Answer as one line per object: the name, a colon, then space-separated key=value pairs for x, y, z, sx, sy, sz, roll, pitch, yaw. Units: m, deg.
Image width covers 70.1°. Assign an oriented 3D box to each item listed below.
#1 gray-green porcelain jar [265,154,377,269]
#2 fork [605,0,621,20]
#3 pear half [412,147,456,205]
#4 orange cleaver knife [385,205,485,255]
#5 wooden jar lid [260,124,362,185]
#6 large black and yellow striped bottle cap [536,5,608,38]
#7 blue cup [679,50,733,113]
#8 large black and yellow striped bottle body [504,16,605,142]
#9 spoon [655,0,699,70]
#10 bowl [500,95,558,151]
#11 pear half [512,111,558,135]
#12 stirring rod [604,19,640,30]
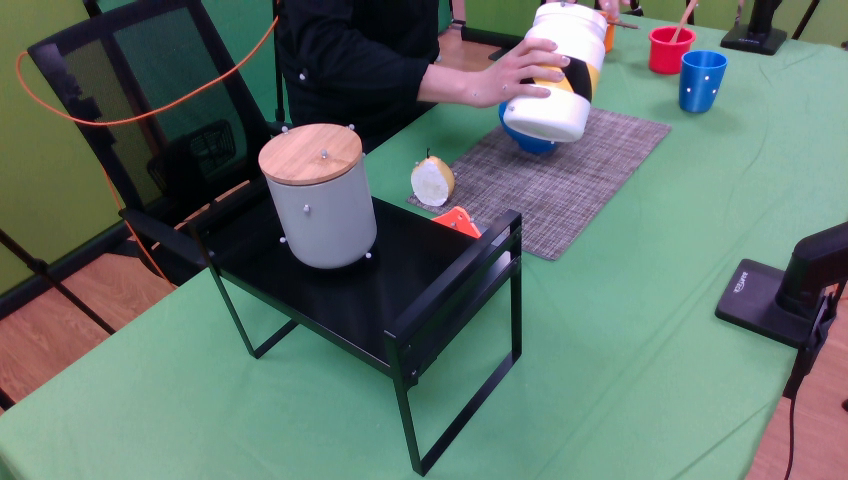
gray-green porcelain jar: x=-0.112 y=-0.039 z=0.685 sx=0.106 sy=0.127 sz=0.105 roll=-4 pitch=40 yaw=4
fork: x=0.446 y=-0.538 z=1.438 sx=0.207 sy=0.019 sz=0.028 roll=-57 pitch=35 yaw=12
pear half: x=0.019 y=-0.120 z=1.042 sx=0.076 sy=0.110 sz=0.056 roll=11 pitch=44 yaw=16
orange cleaver knife: x=0.012 y=-0.010 z=0.942 sx=0.012 sy=0.077 sz=0.210 roll=-37 pitch=19 yaw=-35
wooden jar lid: x=-0.119 y=-0.088 z=0.645 sx=0.108 sy=0.021 sz=0.108 roll=-4 pitch=40 yaw=4
large black and yellow striped bottle cap: x=0.237 y=-0.344 z=0.971 sx=0.115 sy=0.019 sz=0.115 roll=14 pitch=1 yaw=0
blue cup: x=0.545 y=-0.309 z=1.193 sx=0.092 sy=0.100 sz=0.092 roll=-3 pitch=39 yaw=3
large black and yellow striped bottle body: x=0.214 y=-0.263 z=0.972 sx=0.131 sy=0.184 sz=0.131 roll=15 pitch=2 yaw=0
spoon: x=0.567 y=-0.463 z=1.337 sx=0.041 sy=0.022 sz=0.193 roll=29 pitch=96 yaw=37
bowl: x=0.220 y=-0.223 z=1.155 sx=0.151 sy=0.077 sz=0.150 roll=-4 pitch=40 yaw=4
pear half: x=0.212 y=-0.227 z=1.153 sx=0.088 sy=0.031 sz=0.070 roll=6 pitch=45 yaw=11
stirring rod: x=0.419 y=-0.508 z=1.404 sx=0.174 sy=0.006 sz=0.014 roll=29 pitch=54 yaw=35
